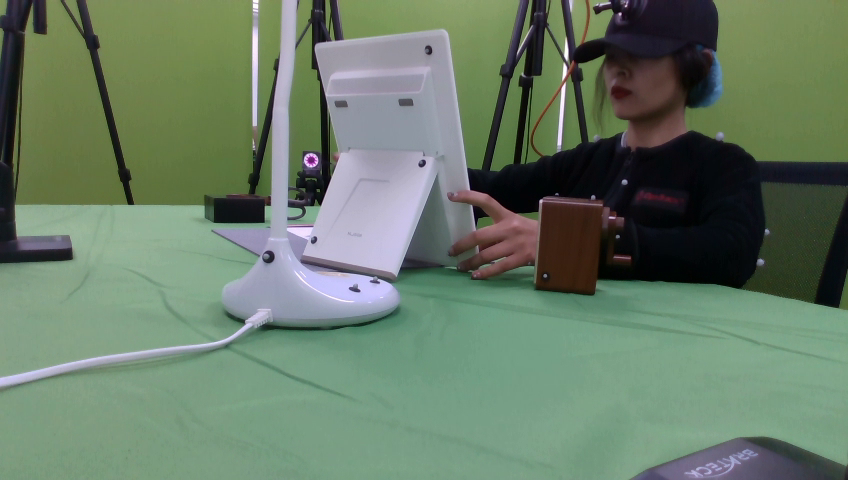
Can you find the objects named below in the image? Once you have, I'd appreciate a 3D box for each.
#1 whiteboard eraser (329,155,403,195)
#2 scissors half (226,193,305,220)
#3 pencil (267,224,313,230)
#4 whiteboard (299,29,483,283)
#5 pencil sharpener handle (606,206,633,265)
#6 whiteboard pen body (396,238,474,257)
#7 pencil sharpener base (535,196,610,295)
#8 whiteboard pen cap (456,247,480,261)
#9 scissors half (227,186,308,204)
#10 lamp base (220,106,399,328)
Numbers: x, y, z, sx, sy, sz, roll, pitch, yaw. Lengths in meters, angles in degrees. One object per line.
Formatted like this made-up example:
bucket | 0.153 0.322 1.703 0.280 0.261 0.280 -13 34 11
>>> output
whiteboard eraser | -0.087 -0.094 0.880 0.112 0.056 0.042 5 41 39
scissors half | -0.341 -0.077 1.310 0.176 0.040 0.012 17 12 -33
pencil | -0.221 -0.028 1.211 0.195 0.012 0.012 -5 10 -34
whiteboard | -0.074 -0.082 0.742 0.216 0.305 0.144 9 30 38
pencil sharpener handle | 0.222 -0.004 0.683 0.030 0.068 0.036 5 21 16
whiteboard pen body | 0.014 0.012 0.886 0.140 0.017 0.017 9 10 38
pencil sharpener base | 0.172 0.005 0.695 0.076 0.107 0.061 5 7 16
whiteboard pen cap | 0.060 0.020 0.851 0.033 0.018 0.018 8 9 36
scissors half | -0.336 -0.096 1.305 0.176 0.040 0.013 -3 17 -29
lamp base | -0.101 -0.023 0.531 0.160 0.180 0.179 4 10 10
